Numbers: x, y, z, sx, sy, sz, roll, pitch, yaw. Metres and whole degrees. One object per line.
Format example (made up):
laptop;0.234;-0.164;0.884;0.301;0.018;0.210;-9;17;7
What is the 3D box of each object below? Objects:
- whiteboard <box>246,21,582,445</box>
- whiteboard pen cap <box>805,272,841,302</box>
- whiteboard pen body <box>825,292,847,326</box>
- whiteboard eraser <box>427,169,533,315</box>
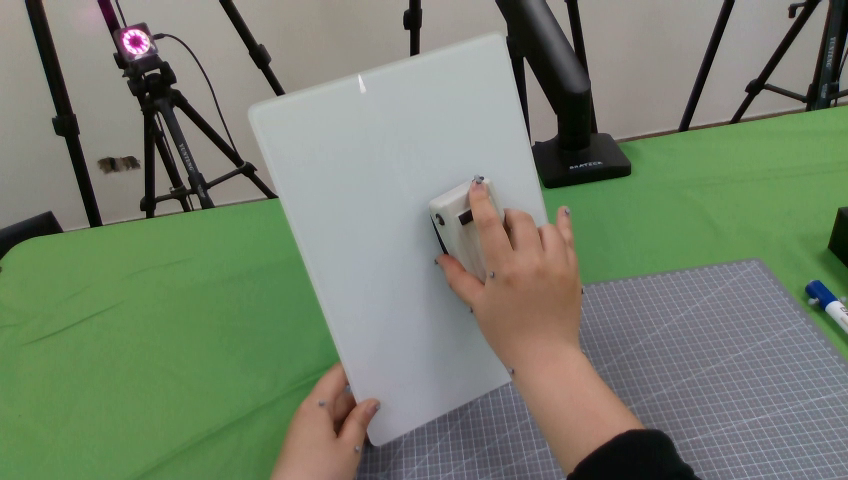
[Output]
whiteboard;-0.011;-0.013;0.568;0.217;0.307;0.143;-22;18;-14
whiteboard pen cap;0.384;0.046;0.581;0.018;0.018;0.033;-11;34;1
whiteboard pen body;0.389;0.080;0.534;0.017;0.017;0.139;-10;35;1
whiteboard eraser;0.046;0.002;0.502;0.055;0.113;0.041;-27;19;-14
